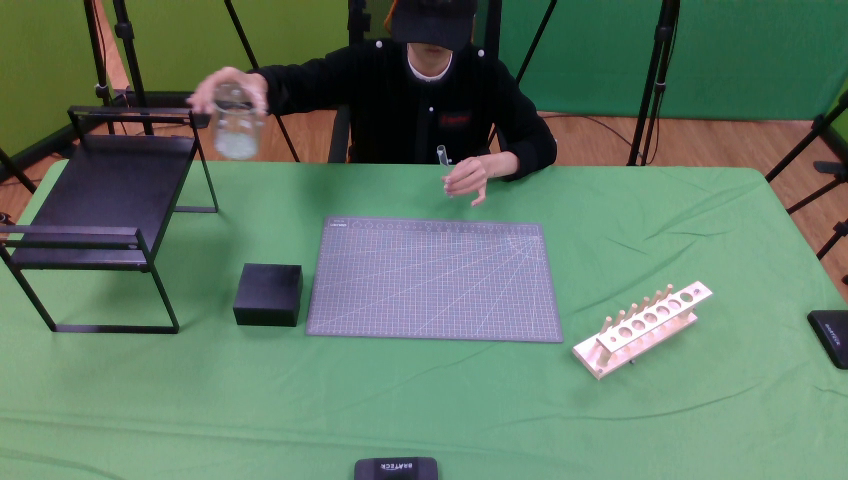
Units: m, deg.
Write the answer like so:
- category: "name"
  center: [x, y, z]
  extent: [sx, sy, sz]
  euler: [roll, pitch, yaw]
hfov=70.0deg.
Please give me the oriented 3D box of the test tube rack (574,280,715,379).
- category: "test tube rack"
  center: [0.378, 0.140, 1.038]
  extent: [0.242, 0.085, 0.066]
  euler: [-22, 51, -23]

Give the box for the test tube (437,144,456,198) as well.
- category: "test tube"
  center: [0.045, -0.130, 1.175]
  extent: [0.017, 0.151, 0.017]
  euler: [-6, 56, 8]

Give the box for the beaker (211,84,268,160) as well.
- category: "beaker"
  center: [-0.293, -0.184, 0.967]
  extent: [0.084, 0.100, 0.073]
  euler: [9, 48, -9]
